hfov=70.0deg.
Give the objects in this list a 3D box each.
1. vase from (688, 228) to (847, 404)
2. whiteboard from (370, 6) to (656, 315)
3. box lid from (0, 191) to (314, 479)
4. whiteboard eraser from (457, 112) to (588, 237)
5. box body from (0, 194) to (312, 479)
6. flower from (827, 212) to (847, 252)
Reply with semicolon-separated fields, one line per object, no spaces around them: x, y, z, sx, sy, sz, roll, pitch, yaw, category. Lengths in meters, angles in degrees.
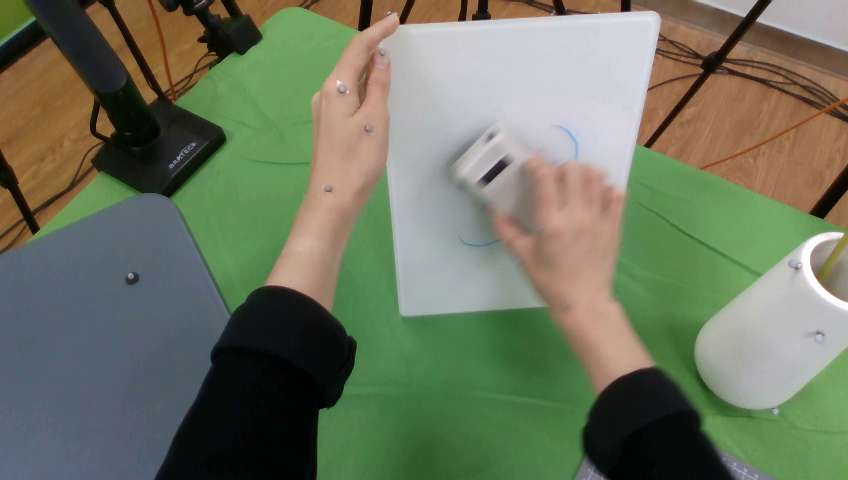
0.306;0.069;0.525;0.098;0.201;0.097;0;57;1;vase
0.069;-0.090;0.595;0.217;0.308;0.142;-3;40;-1;whiteboard
-0.243;0.137;0.416;0.263;0.015;0.368;-28;63;-16;box lid
0.084;-0.054;0.514;0.055;0.114;0.041;-41;31;21;whiteboard eraser
-0.241;0.178;0.479;0.254;0.162;0.360;-28;63;-16;box body
0.306;0.012;0.462;0.044;0.365;0.038;21;44;16;flower
